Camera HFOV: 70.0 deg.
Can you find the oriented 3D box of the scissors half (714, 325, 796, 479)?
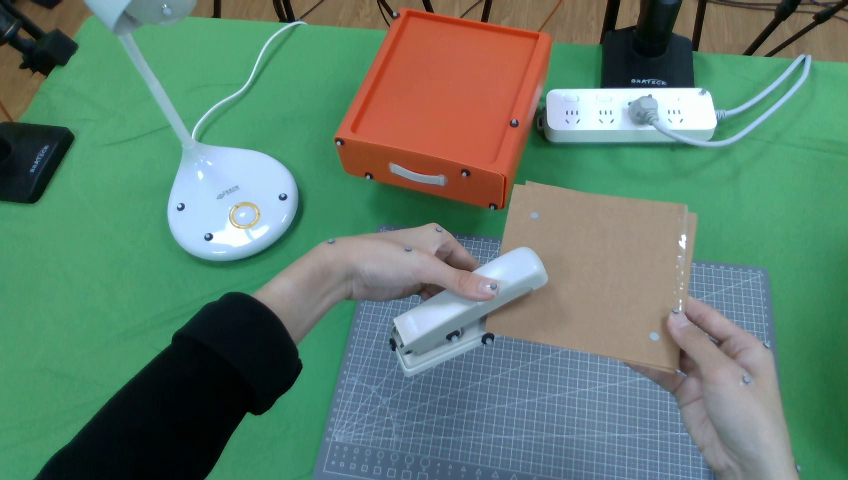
[{"bbox_3d":[0.321,0.164,0.600,0.040,0.013,0.173,-8,59,-4],"label":"scissors half"}]

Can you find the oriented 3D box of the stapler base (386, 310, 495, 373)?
[{"bbox_3d":[0.035,0.052,0.450,0.130,0.025,0.041,-24,54,-7],"label":"stapler base"}]

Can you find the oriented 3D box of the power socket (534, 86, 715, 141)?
[{"bbox_3d":[0.258,-0.164,0.781,0.226,0.033,0.071,2,61,5],"label":"power socket"}]

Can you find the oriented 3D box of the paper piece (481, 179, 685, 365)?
[{"bbox_3d":[0.122,0.017,0.455,0.135,0.009,0.137,9,63,13],"label":"paper piece"}]

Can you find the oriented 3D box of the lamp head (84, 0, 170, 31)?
[{"bbox_3d":[-0.227,-0.230,0.434,0.123,0.112,0.112,46,68,-16],"label":"lamp head"}]

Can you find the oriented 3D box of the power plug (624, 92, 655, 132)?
[{"bbox_3d":[0.264,-0.150,0.747,0.035,0.053,0.072,11,62,10],"label":"power plug"}]

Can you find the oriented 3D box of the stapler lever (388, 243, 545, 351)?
[{"bbox_3d":[0.030,0.039,0.429,0.118,0.040,0.026,-24,54,-7],"label":"stapler lever"}]

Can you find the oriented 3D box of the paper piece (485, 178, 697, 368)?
[{"bbox_3d":[0.130,0.019,0.466,0.135,0.004,0.135,14,64,19],"label":"paper piece"}]

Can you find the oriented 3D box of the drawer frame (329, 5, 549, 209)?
[{"bbox_3d":[0.023,-0.164,0.723,0.201,0.083,0.212,14,64,12],"label":"drawer frame"}]

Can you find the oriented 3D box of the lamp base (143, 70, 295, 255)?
[{"bbox_3d":[-0.255,-0.097,0.694,0.177,0.182,0.160,38,69,25],"label":"lamp base"}]

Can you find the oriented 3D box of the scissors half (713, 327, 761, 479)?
[{"bbox_3d":[0.301,0.165,0.599,0.040,0.013,0.173,10,58,0],"label":"scissors half"}]

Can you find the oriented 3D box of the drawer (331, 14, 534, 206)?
[{"bbox_3d":[0.023,-0.160,0.718,0.194,0.074,0.210,14,62,13],"label":"drawer"}]
